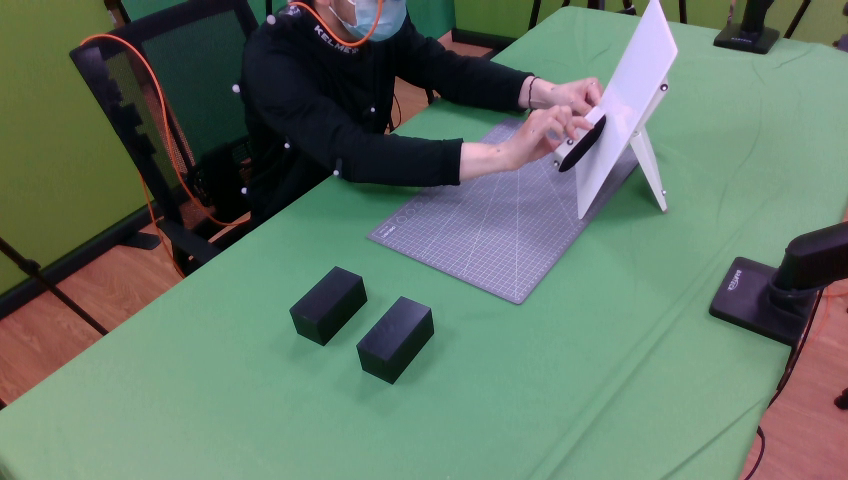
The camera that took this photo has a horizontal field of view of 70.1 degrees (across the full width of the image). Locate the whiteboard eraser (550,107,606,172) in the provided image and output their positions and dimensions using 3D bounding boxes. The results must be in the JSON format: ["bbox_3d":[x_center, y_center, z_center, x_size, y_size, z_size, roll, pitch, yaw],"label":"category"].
[{"bbox_3d":[0.258,-0.164,0.999,0.041,0.056,0.113,39,75,14],"label":"whiteboard eraser"}]

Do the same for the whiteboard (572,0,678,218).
[{"bbox_3d":[0.367,-0.188,0.965,0.144,0.305,0.216,18,42,-3],"label":"whiteboard"}]
